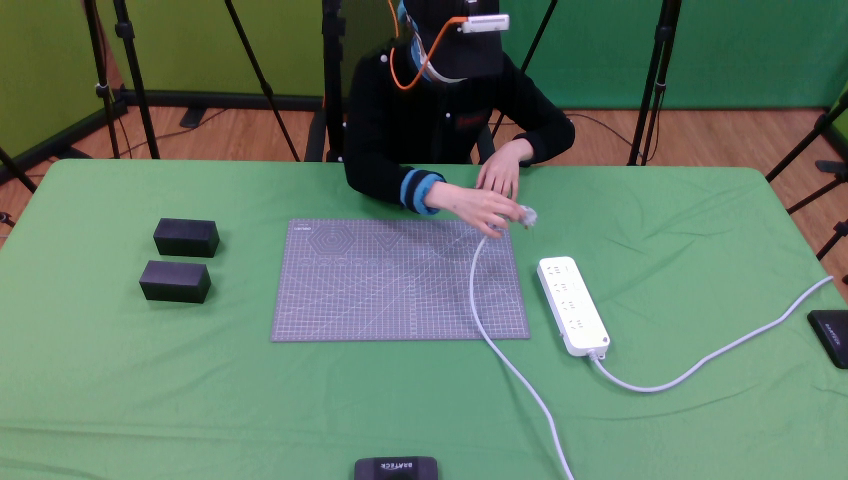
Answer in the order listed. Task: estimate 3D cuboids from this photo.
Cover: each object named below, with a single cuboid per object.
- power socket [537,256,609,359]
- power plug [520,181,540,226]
[{"bbox_3d":[0.266,0.115,1.097,0.072,0.033,0.225,-5,47,-8],"label":"power socket"},{"bbox_3d":[0.185,-0.061,1.098,0.035,0.073,0.052,-22,25,14],"label":"power plug"}]
